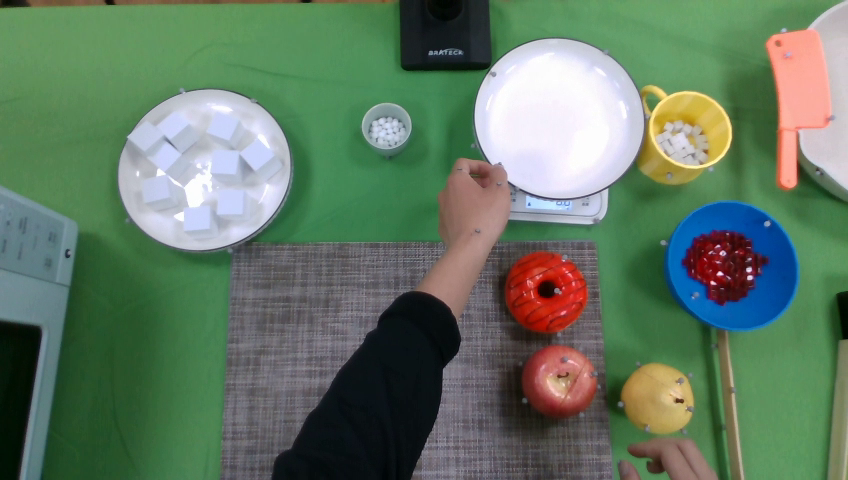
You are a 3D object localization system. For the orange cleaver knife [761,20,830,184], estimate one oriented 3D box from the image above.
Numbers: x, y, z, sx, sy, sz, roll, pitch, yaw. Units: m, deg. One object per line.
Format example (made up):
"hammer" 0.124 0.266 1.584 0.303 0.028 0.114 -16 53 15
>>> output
"orange cleaver knife" 0.449 -0.169 0.728 0.077 0.012 0.210 4 79 2

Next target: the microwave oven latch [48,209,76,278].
"microwave oven latch" -0.429 0.004 0.707 0.030 0.029 0.079 4 79 -1

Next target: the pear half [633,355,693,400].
"pear half" 0.277 0.150 0.687 0.070 0.088 0.031 29 80 7

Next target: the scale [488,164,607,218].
"scale" 0.159 -0.130 0.769 0.149 0.031 0.200 3 79 0

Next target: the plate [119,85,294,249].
"plate" -0.263 -0.088 0.748 0.208 0.039 0.206 0 79 -1

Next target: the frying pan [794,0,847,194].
"frying pan" 0.633 -0.090 0.735 0.307 0.103 0.484 -27 73 -5

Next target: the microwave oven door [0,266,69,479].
"microwave oven door" -0.436 0.198 0.564 0.039 0.244 0.354 1 78 -1

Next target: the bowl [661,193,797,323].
"bowl" 0.346 0.026 0.719 0.151 0.077 0.150 0 79 -1

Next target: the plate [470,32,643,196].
"plate" 0.159 -0.151 0.740 0.209 0.038 0.208 0 79 -2

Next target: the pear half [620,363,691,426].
"pear half" 0.257 0.177 0.671 0.076 0.110 0.056 30 79 9

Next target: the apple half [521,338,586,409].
"apple half" 0.140 0.145 0.689 0.053 0.075 0.080 32 82 8

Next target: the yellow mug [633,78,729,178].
"yellow mug" 0.307 -0.147 0.758 0.100 0.064 0.130 -33 80 -6

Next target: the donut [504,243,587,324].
"donut" 0.143 0.052 0.723 0.099 0.048 0.098 0 79 1

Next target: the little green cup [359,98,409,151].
"little green cup" -0.049 -0.143 0.764 0.061 0.039 0.061 0 78 -1

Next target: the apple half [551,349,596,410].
"apple half" 0.173 0.164 0.685 0.032 0.081 0.081 32 79 9

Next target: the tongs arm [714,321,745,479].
"tongs arm" 0.378 0.283 0.691 0.051 0.026 0.383 0 80 -7

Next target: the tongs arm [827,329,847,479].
"tongs arm" 0.464 0.290 0.698 0.028 0.028 0.386 15 79 -7

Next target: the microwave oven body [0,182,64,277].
"microwave oven body" -0.580 0.153 0.575 0.326 0.261 0.440 2 79 -1
